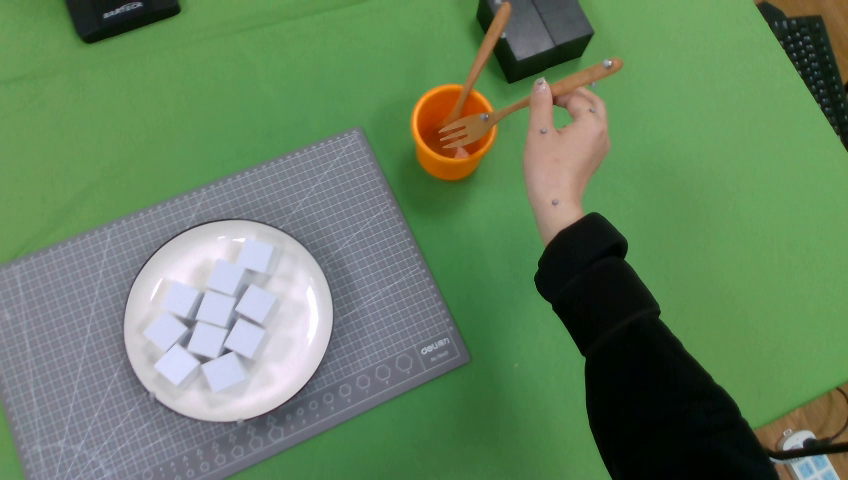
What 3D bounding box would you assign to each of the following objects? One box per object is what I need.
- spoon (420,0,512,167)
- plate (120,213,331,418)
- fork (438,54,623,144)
[{"bbox_3d":[0.046,-0.162,0.646,0.041,0.194,0.021,34,33,10],"label":"spoon"},{"bbox_3d":[-0.199,0.077,0.626,0.208,0.039,0.206,1,76,-4],"label":"plate"},{"bbox_3d":[0.089,-0.128,0.564,0.019,0.206,0.028,-10,87,-43],"label":"fork"}]
